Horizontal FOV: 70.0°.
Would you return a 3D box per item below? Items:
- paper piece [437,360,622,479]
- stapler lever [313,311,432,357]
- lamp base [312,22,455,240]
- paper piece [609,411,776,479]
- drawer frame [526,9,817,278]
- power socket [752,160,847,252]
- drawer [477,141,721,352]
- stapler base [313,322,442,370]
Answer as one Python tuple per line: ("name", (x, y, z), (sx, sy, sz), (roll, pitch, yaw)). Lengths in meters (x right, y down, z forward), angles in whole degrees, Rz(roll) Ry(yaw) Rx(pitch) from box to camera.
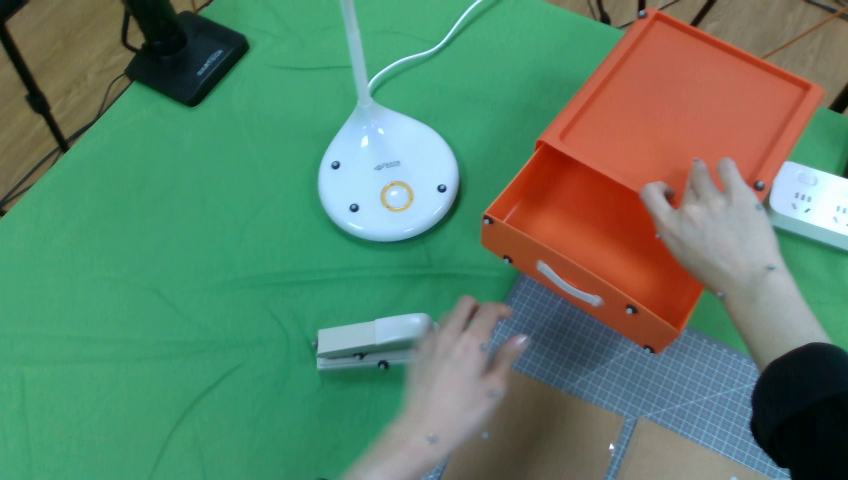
("paper piece", (0.096, 0.196, 0.558), (0.135, 0.009, 0.137), (21, 67, 15))
("stapler lever", (-0.051, 0.090, 0.580), (0.118, 0.040, 0.026), (-6, 60, 2))
("lamp base", (-0.055, -0.116, 0.621), (0.161, 0.182, 0.177), (-24, 62, -10))
("paper piece", (0.226, 0.241, 0.529), (0.135, 0.004, 0.135), (25, 68, 14))
("drawer frame", (0.241, -0.104, 0.609), (0.200, 0.083, 0.213), (33, 69, 17))
("power socket", (0.460, -0.021, 0.637), (0.226, 0.033, 0.072), (21, 67, 12))
("drawer", (0.187, -0.034, 0.579), (0.193, 0.074, 0.211), (33, 69, 17))
("stapler base", (-0.048, 0.102, 0.603), (0.130, 0.024, 0.041), (-6, 60, 1))
